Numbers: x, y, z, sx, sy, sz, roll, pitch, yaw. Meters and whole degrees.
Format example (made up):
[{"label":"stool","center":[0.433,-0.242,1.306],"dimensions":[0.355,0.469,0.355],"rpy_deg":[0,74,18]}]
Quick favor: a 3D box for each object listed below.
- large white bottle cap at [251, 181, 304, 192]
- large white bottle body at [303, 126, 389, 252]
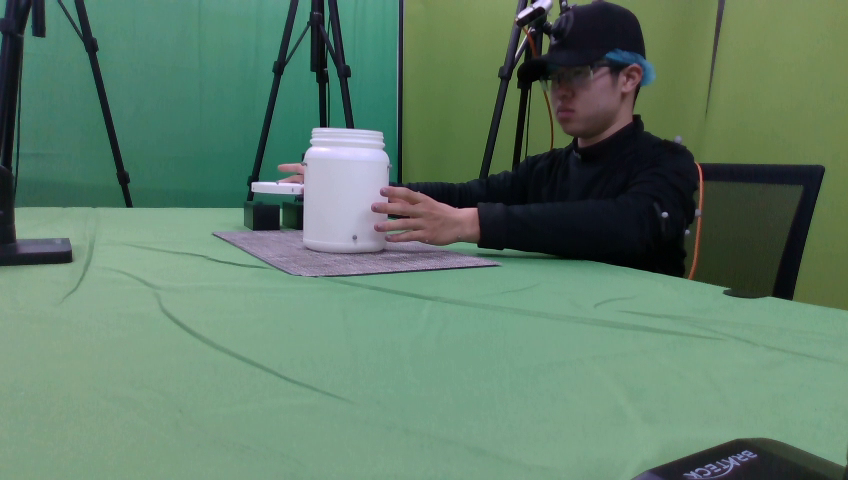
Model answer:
[{"label":"large white bottle cap","center":[-0.284,-0.105,1.202],"dimensions":[0.115,0.018,0.115],"rpy_deg":[2,7,0]},{"label":"large white bottle body","center":[-0.120,-0.079,0.936],"dimensions":[0.131,0.184,0.130],"rpy_deg":[2,7,0]}]
